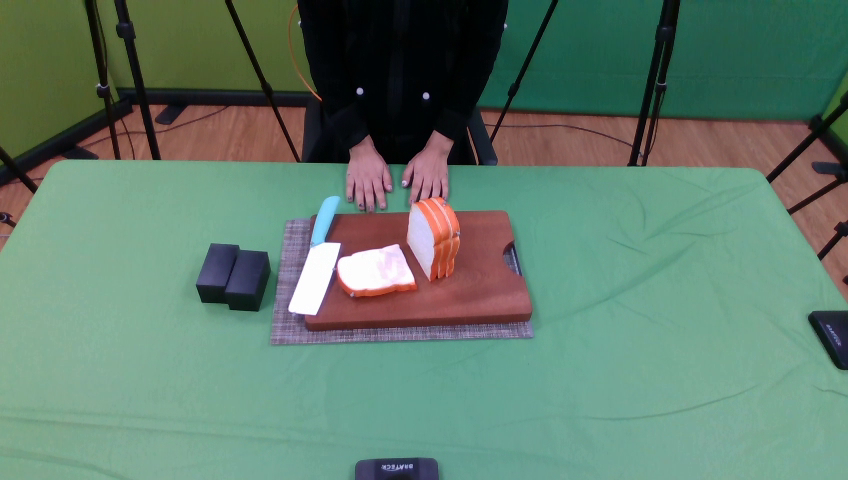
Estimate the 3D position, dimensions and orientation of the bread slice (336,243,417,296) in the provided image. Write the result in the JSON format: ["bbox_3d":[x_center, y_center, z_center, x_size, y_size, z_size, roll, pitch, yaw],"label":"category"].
[{"bbox_3d":[-0.091,0.053,1.097,0.134,0.018,0.106,-8,44,-16],"label":"bread slice"}]

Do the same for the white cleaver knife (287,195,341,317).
[{"bbox_3d":[-0.189,0.025,1.126,0.066,0.021,0.285,4,51,7],"label":"white cleaver knife"}]

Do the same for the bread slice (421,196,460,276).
[{"bbox_3d":[0.032,-0.013,1.099,0.019,0.132,0.104,-16,51,-24],"label":"bread slice"}]
